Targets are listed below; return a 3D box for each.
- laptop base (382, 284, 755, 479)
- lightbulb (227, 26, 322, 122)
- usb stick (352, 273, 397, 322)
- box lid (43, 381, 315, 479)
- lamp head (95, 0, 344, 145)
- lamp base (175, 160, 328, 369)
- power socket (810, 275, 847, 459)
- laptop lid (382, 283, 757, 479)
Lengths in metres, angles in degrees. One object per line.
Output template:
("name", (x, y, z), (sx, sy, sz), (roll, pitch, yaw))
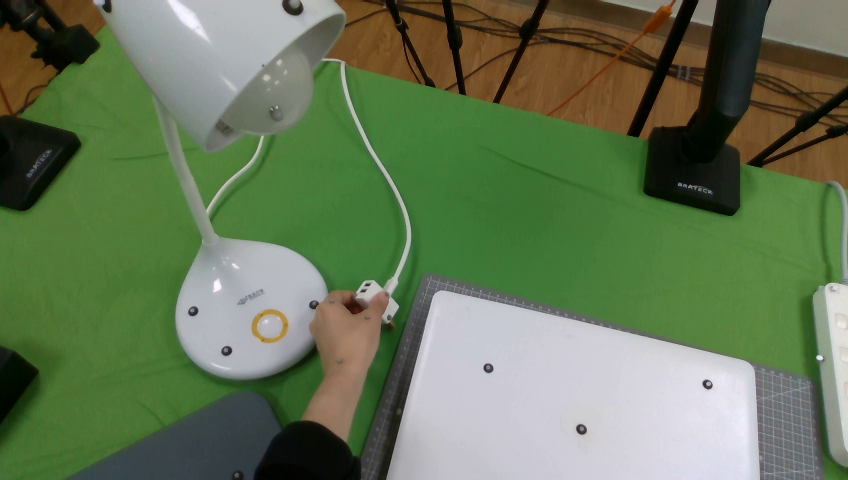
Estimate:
("laptop base", (0.154, 0.185, 0.614), (0.354, 0.023, 0.234), (13, 62, 3))
("lightbulb", (-0.094, -0.118, 0.330), (0.059, 0.059, 0.108), (-23, 101, -17))
("usb stick", (-0.050, 0.064, 0.656), (0.021, 0.059, 0.027), (-7, 39, 46))
("box lid", (-0.186, 0.322, 0.507), (0.263, 0.015, 0.368), (-26, 65, -19))
("lamp head", (-0.124, -0.130, 0.334), (0.123, 0.112, 0.112), (43, 62, -6))
("lamp base", (-0.191, 0.016, 0.596), (0.178, 0.182, 0.160), (39, 63, 22))
("power socket", (0.471, 0.136, 0.660), (0.072, 0.033, 0.225), (15, 58, 3))
("laptop lid", (0.154, 0.181, 0.602), (0.356, 0.013, 0.240), (14, 61, 5))
